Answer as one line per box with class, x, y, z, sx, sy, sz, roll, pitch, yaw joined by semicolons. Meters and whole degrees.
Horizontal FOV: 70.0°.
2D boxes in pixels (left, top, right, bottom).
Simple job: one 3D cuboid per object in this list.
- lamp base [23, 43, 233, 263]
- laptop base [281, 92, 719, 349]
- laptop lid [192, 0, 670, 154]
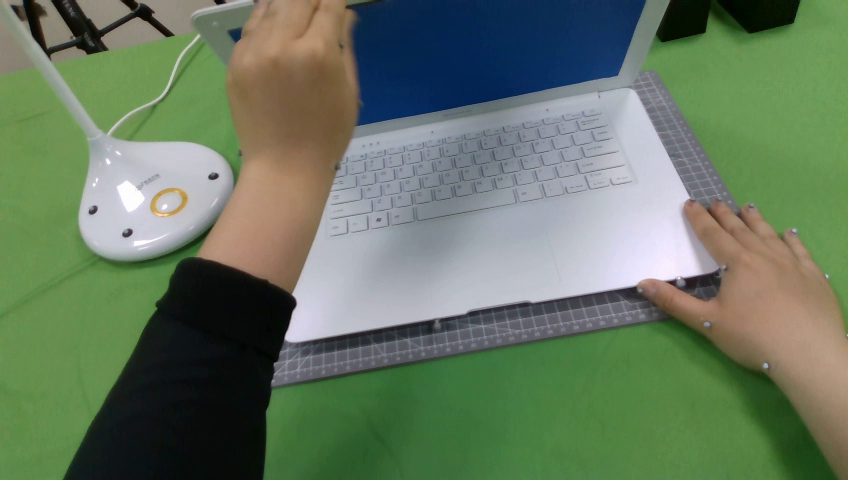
lamp base;-0.300;-0.093;0.575;0.178;0.182;0.160;21;57;30
laptop base;0.048;-0.027;0.553;0.354;0.023;0.233;-10;52;3
laptop lid;0.022;-0.151;0.513;0.356;0.243;0.013;-11;75;5
